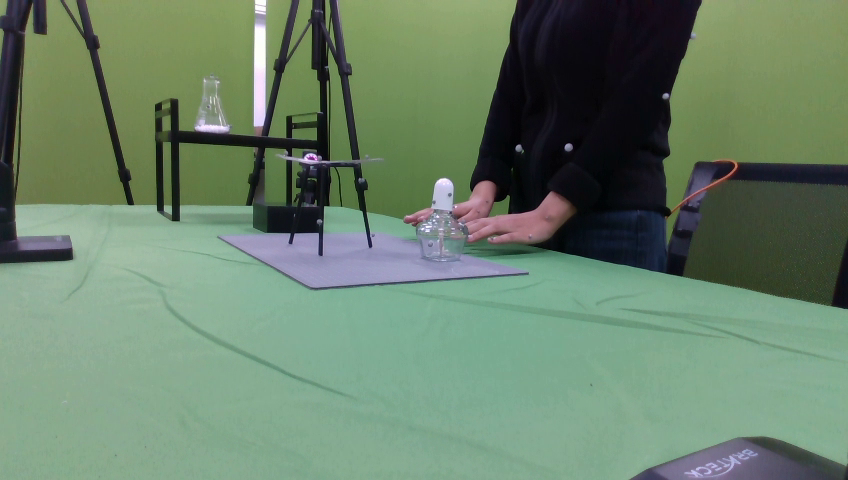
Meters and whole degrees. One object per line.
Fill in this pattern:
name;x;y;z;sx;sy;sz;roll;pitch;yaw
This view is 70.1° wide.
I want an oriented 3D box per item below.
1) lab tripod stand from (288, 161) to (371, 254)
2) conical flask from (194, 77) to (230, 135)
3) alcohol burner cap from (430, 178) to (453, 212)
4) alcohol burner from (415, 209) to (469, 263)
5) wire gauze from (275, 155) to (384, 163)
lab tripod stand;-0.148;-0.052;0.909;0.148;0.131;0.148;1;8;0
conical flask;-0.461;-0.292;1.317;0.075;0.122;0.075;2;7;0
alcohol burner cap;0.027;-0.064;0.858;0.034;0.048;0.034;4;4;0
alcohol burner;0.025;-0.028;0.863;0.078;0.119;0.078;1;6;0
wire gauze;-0.142;-0.118;0.900;0.122;0.011;0.124;-3;8;-37
